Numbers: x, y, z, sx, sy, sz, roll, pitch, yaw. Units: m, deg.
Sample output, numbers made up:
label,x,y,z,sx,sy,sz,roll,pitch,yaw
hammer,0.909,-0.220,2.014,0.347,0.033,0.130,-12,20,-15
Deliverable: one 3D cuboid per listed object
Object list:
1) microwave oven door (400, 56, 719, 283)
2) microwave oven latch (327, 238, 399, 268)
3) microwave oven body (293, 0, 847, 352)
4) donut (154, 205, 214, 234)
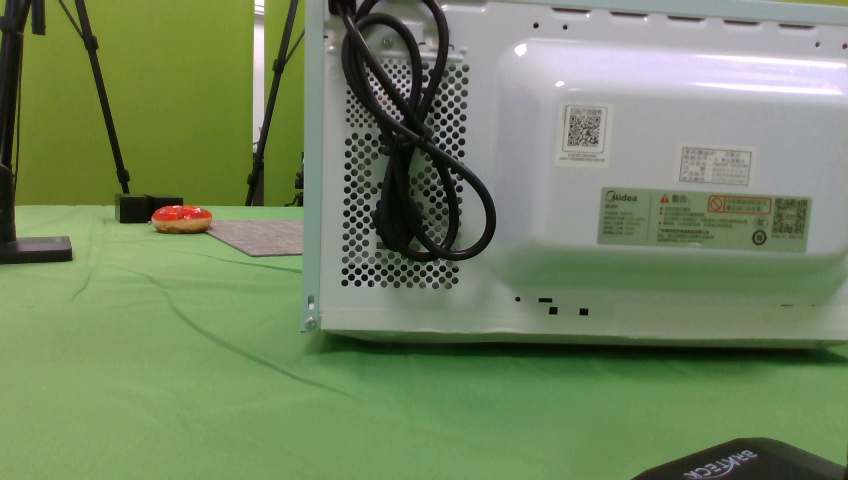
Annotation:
label,x,y,z,sx,sy,sz,roll,pitch,yaw
microwave oven door,0.155,-0.077,0.697,0.356,0.243,0.039,2,8,-5
microwave oven latch,-0.069,0.015,0.694,0.079,0.029,0.030,3,7,-3
microwave oven body,0.122,-0.055,0.550,0.442,0.260,0.325,3,7,-5
donut,-0.426,-0.037,1.075,0.099,0.048,0.099,2,12,0
